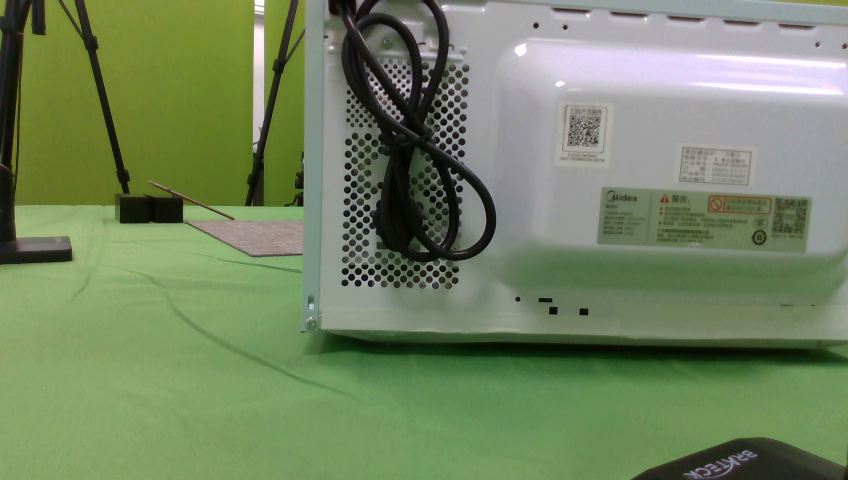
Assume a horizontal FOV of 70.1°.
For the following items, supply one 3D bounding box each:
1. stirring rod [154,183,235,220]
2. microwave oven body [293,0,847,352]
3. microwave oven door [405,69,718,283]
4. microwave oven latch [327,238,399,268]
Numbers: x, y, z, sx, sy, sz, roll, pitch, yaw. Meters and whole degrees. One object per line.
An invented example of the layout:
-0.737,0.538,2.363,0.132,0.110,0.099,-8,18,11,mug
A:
-0.472,-0.079,1.252,0.177,0.006,0.014,27,3,-35,stirring rod
0.122,-0.055,0.550,0.442,0.260,0.325,3,7,-5,microwave oven body
0.158,-0.082,0.742,0.355,0.243,0.039,4,8,10,microwave oven door
-0.069,0.015,0.694,0.079,0.029,0.030,3,7,-3,microwave oven latch
